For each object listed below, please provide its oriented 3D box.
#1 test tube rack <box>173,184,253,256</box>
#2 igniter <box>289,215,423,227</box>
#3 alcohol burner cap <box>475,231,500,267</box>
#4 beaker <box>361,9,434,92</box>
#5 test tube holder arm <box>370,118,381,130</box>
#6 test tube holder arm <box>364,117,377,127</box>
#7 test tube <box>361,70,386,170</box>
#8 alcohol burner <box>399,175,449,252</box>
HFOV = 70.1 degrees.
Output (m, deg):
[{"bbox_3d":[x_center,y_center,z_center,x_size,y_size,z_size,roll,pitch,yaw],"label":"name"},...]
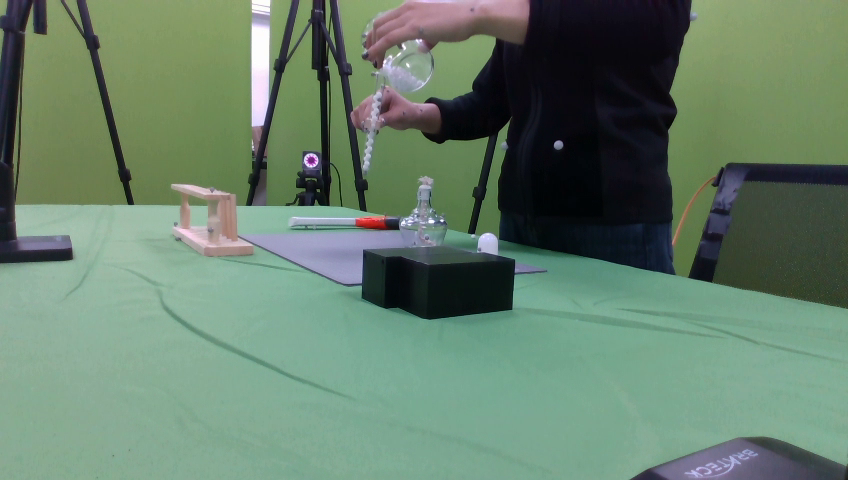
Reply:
[{"bbox_3d":[-0.329,-0.036,0.927,0.067,0.085,0.241,-2,9,-32],"label":"test tube rack"},{"bbox_3d":[-0.133,-0.038,1.232,0.278,0.025,0.057,-1,-2,-25],"label":"igniter"},{"bbox_3d":[0.088,0.012,0.830,0.034,0.048,0.034,3,6,0],"label":"alcohol burner cap"},{"bbox_3d":[-0.037,-0.258,0.837,0.074,0.084,0.100,-6,48,-30],"label":"beaker"},{"bbox_3d":[-0.076,-0.180,0.935,0.010,0.015,0.087,16,11,-13],"label":"test tube holder arm"},{"bbox_3d":[-0.086,-0.192,0.978,0.013,0.015,0.178,17,11,-7],"label":"test tube holder arm"},{"bbox_3d":[-0.077,-0.180,0.911,0.017,0.150,0.017,10,17,-3],"label":"test tube"},{"bbox_3d":[0.000,-0.041,0.937,0.078,0.119,0.078,0,8,0],"label":"alcohol burner"}]
